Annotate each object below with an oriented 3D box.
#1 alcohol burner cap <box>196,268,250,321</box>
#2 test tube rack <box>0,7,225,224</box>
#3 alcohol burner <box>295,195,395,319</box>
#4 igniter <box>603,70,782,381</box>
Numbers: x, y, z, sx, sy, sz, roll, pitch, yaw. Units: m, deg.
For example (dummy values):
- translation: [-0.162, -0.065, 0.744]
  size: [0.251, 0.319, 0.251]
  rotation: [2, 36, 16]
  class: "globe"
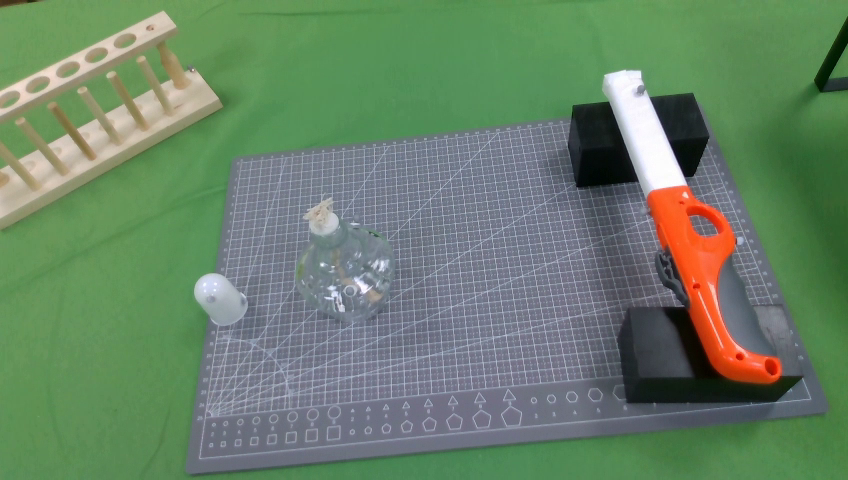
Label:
- translation: [-0.163, 0.041, 0.487]
  size: [0.034, 0.048, 0.033]
  rotation: [-4, 58, 6]
  class: "alcohol burner cap"
- translation: [-0.330, -0.123, 0.590]
  size: [0.242, 0.086, 0.066]
  rotation: [-33, 60, -14]
  class: "test tube rack"
- translation: [-0.063, 0.009, 0.451]
  size: [0.078, 0.120, 0.077]
  rotation: [-4, 55, 6]
  class: "alcohol burner"
- translation: [0.182, -0.027, 0.438]
  size: [0.057, 0.025, 0.273]
  rotation: [-9, 55, 3]
  class: "igniter"
